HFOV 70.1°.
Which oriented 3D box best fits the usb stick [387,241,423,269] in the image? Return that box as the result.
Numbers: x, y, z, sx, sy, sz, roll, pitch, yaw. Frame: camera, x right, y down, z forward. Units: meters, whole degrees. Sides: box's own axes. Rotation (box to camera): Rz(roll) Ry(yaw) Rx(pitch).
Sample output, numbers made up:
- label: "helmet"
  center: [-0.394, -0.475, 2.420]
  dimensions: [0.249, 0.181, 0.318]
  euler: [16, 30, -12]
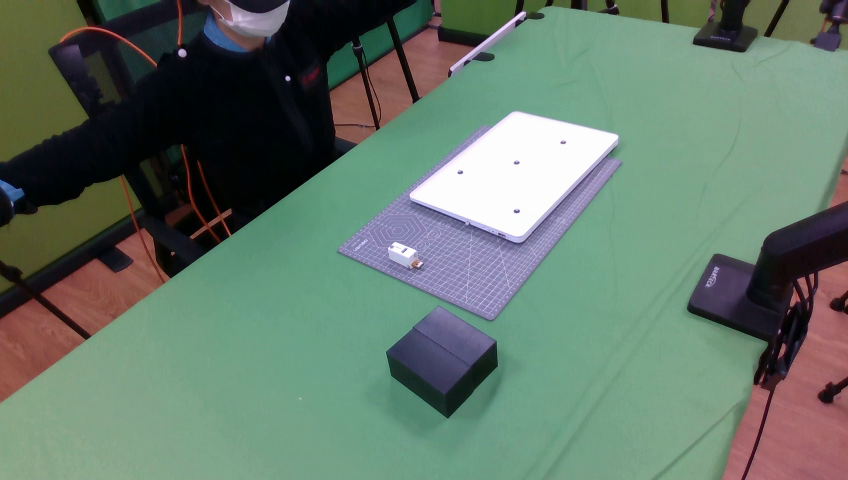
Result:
- label: "usb stick"
  center: [-0.028, 0.026, 0.934]
  dimensions: [0.059, 0.027, 0.021]
  euler: [26, 49, 29]

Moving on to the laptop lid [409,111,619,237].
- label: "laptop lid"
  center: [0.167, -0.136, 1.089]
  dimensions: [0.239, 0.013, 0.358]
  euler: [24, 49, 34]

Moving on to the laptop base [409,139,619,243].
- label: "laptop base"
  center: [0.170, -0.126, 1.096]
  dimensions: [0.233, 0.023, 0.355]
  euler: [21, 47, 34]
